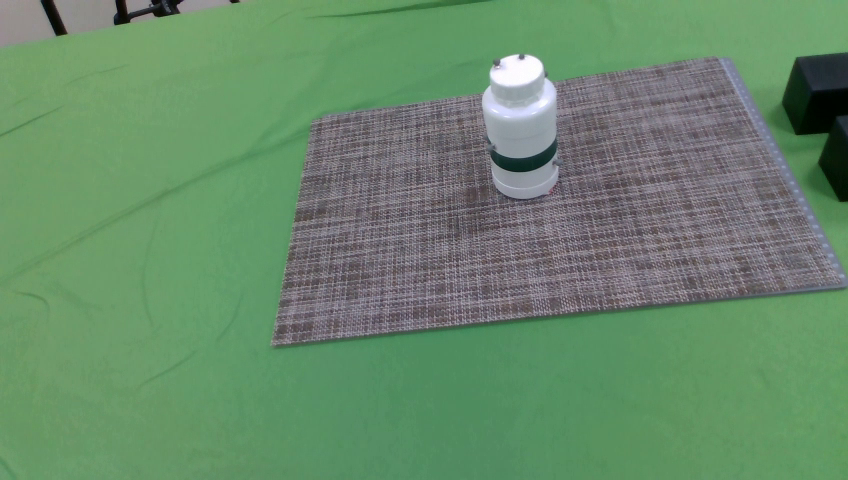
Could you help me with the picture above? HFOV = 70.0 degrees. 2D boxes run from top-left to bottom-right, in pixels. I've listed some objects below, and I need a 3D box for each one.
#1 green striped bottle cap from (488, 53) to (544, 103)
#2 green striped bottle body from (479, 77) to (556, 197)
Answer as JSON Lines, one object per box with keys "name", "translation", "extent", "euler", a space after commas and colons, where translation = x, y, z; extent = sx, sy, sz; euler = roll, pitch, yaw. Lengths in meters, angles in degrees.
{"name": "green striped bottle cap", "translation": [0.075, -0.132, 0.495], "extent": [0.044, 0.020, 0.044], "euler": [-8, 50, 10]}
{"name": "green striped bottle body", "translation": [0.084, -0.100, 0.535], "extent": [0.063, 0.120, 0.062], "euler": [-7, 50, 8]}
